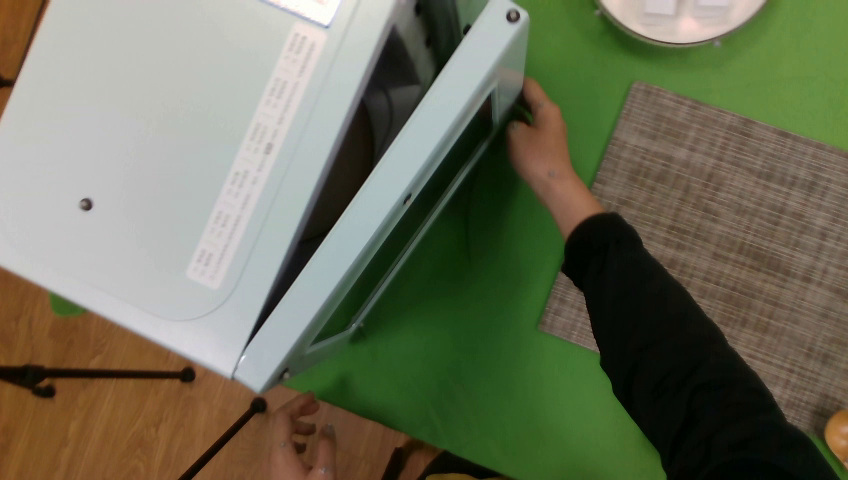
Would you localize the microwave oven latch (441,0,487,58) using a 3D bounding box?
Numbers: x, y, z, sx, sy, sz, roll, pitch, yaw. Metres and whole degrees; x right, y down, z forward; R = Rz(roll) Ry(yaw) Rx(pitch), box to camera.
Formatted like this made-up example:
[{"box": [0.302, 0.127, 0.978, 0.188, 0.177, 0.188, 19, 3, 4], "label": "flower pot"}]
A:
[{"box": [0.044, -0.246, 0.673, 0.030, 0.029, 0.079, 27, 93, 6], "label": "microwave oven latch"}]

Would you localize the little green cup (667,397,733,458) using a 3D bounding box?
[{"box": [0.296, 0.200, 0.657, 0.061, 0.039, 0.061, 0, 87, 6], "label": "little green cup"}]

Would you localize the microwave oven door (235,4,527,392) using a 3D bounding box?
[{"box": [-0.024, -0.027, 0.576, 0.039, 0.244, 0.356, 36, 93, 7], "label": "microwave oven door"}]

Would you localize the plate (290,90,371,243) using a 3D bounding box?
[{"box": [-0.157, -0.099, 0.649, 0.209, 0.038, 0.209, 0, 89, 6], "label": "plate"}]

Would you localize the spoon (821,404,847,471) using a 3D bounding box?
[{"box": [0.461, 0.266, 0.643, 0.042, 0.021, 0.193, -16, 89, -10], "label": "spoon"}]

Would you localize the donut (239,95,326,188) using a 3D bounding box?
[{"box": [-0.151, -0.103, 0.641, 0.098, 0.048, 0.099, 2, 96, 20], "label": "donut"}]

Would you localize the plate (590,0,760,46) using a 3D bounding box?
[{"box": [0.275, -0.314, 0.667, 0.207, 0.039, 0.207, 0, 89, 7], "label": "plate"}]

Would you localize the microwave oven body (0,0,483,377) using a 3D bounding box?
[{"box": [-0.172, -0.143, 0.600, 0.325, 0.260, 0.441, 23, 92, 6], "label": "microwave oven body"}]
